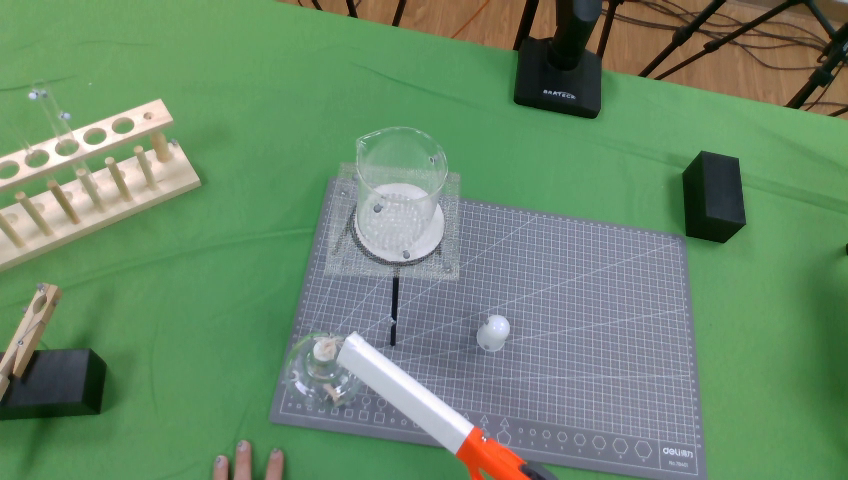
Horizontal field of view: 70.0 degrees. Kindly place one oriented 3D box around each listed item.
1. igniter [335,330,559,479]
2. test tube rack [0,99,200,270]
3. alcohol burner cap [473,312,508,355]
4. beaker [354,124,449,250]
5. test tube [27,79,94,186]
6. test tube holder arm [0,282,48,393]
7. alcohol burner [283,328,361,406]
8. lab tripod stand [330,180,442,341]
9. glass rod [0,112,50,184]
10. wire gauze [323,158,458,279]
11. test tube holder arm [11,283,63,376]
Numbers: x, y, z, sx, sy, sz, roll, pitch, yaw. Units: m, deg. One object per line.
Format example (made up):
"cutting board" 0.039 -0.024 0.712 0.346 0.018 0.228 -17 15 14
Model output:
"igniter" 0.041 0.166 0.488 0.275 0.057 0.025 35 32 13
"test tube rack" -0.376 -0.057 0.646 0.242 0.086 0.066 -28 69 -21
"alcohol burner cap" 0.073 0.098 0.648 0.034 0.048 0.033 7 44 -7
"beaker" -0.027 -0.042 0.526 0.083 0.101 0.074 32 63 9
"test tube" -0.365 -0.103 0.616 0.017 0.151 0.017 4 57 -6
"test tube holder arm" -0.373 0.118 0.536 0.013 0.015 0.177 12 60 -1
"alcohol burner" -0.095 0.115 0.575 0.078 0.120 0.077 4 60 -7
"lab tripod stand" -0.033 0.015 0.625 0.149 0.132 0.147 4 62 -7
"glass rod" -0.398 -0.099 0.589 0.008 0.201 0.008 1 55 -1
"wire gauze" -0.028 -0.020 0.570 0.121 0.011 0.124 4 65 -4
"test tube holder arm" -0.360 0.081 0.558 0.010 0.015 0.087 13 60 -1
